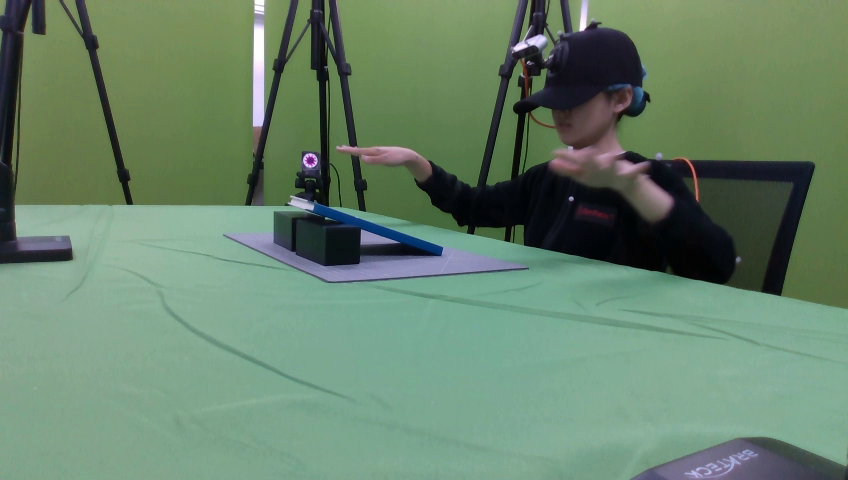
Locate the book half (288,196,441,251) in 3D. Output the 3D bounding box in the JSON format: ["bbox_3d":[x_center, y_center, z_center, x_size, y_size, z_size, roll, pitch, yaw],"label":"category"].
[{"bbox_3d":[-0.092,-0.026,0.920,0.211,0.007,0.142,19,-1,-27],"label":"book half"}]
